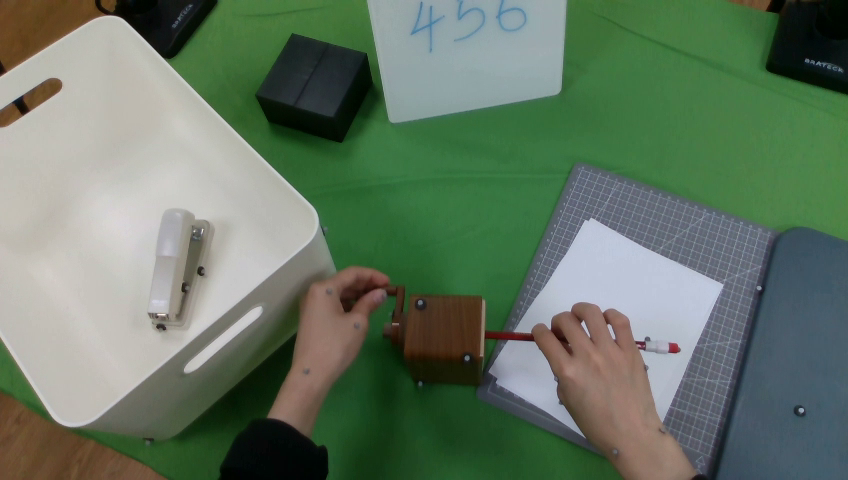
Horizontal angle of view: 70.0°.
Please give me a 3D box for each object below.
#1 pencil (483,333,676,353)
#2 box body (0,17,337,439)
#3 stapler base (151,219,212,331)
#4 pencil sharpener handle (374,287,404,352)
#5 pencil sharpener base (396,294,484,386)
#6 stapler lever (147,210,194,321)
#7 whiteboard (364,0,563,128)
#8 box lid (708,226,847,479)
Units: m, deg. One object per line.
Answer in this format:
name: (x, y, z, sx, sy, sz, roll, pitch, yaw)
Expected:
pencil: (0.125, 0.089, 0.530, 0.194, 0.012, 0.012, 4, 65, -3)
box body: (-0.291, -0.013, 0.609, 0.254, 0.161, 0.361, -42, 70, -15)
stapler base: (-0.265, 0.033, 0.657, 0.041, 0.024, 0.129, 2, 67, 6)
pencil sharpener handle: (-0.035, 0.071, 0.562, 0.030, 0.036, 0.067, 2, 47, 5)
pencil sharpener base: (0.016, 0.096, 0.573, 0.076, 0.108, 0.061, 2, 65, 5)
stapler lever: (-0.266, 0.024, 0.633, 0.027, 0.040, 0.117, 2, 68, 6)
whiteboard: (0.036, -0.311, 0.685, 0.217, 0.308, 0.142, -10, 45, -1)
box lid: (0.427, 0.174, 0.569, 0.262, 0.015, 0.370, 22, 69, 11)
